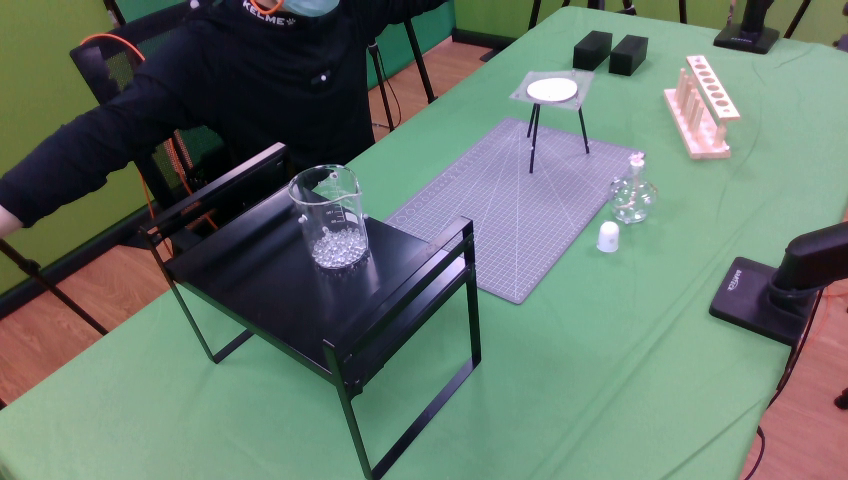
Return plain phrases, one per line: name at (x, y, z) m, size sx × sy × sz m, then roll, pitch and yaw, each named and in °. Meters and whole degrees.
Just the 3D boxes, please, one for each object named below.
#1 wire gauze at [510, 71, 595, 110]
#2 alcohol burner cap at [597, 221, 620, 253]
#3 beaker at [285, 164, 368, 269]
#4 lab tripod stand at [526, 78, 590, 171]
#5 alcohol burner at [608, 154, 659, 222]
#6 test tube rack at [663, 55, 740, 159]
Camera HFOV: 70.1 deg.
wire gauze at (0.224, -0.267, 1.053) m, size 0.124 × 0.011 × 0.121 m, roll 12°, pitch 44°, yaw 23°
alcohol burner cap at (0.283, -0.007, 0.924) m, size 0.034 × 0.048 × 0.033 m, roll -4°, pitch 39°, yaw 4°
beaker at (-0.102, -0.024, 0.676) m, size 0.083 × 0.101 × 0.074 m, roll 8°, pitch 43°, yaw 16°
lab tripod stand at (0.228, -0.216, 1.097) m, size 0.148 × 0.132 × 0.147 m, roll -6°, pitch 40°, yaw 5°
alcohol burner at (0.333, -0.087, 0.954) m, size 0.078 × 0.119 × 0.077 m, roll -3°, pitch 42°, yaw 3°
test tube rack at (0.518, -0.256, 1.144) m, size 0.066 × 0.085 × 0.241 m, roll -1°, pitch 41°, yaw 8°
